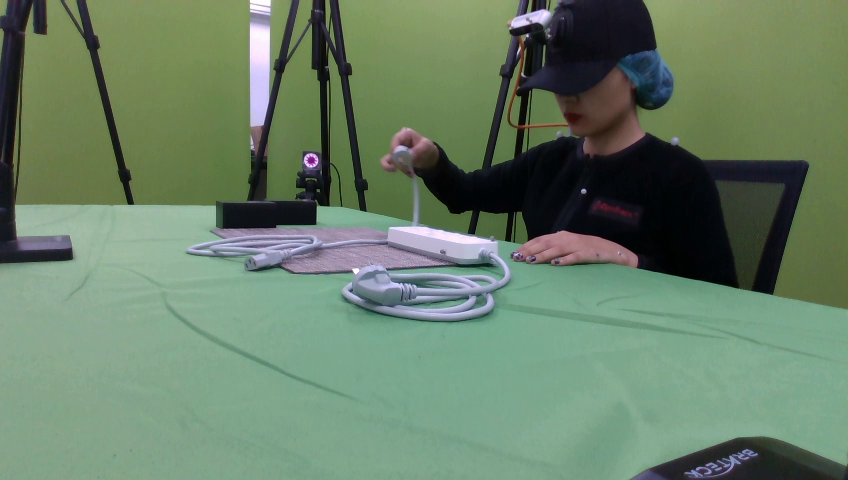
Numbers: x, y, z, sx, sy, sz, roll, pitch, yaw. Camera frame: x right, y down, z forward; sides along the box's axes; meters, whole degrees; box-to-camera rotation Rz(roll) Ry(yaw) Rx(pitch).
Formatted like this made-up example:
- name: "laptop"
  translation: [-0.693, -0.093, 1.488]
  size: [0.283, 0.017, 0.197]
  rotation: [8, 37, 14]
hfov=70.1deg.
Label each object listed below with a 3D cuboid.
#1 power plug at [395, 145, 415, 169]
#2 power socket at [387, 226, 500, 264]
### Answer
- name: "power plug"
  translation: [-0.025, -0.143, 1.099]
  size: [0.035, 0.052, 0.073]
  rotation: [-24, -43, 23]
- name: "power socket"
  translation: [0.023, 0.004, 0.912]
  size: [0.072, 0.032, 0.225]
  rotation: [-3, 9, -34]
